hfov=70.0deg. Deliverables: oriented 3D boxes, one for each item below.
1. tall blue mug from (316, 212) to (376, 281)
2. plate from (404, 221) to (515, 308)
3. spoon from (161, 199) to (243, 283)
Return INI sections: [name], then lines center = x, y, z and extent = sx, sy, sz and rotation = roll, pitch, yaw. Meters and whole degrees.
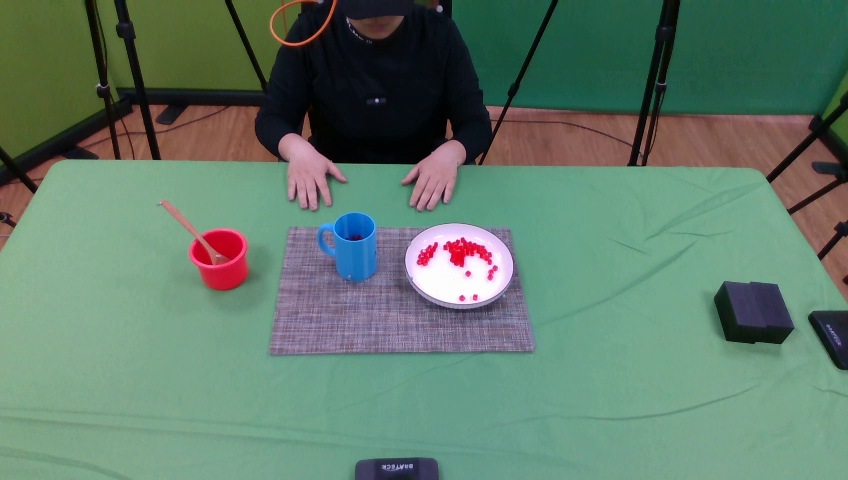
[tall blue mug]
center = -0.142, 0.014, 1.109
extent = 0.107, 0.108, 0.077
rotation = -5, 47, -8
[plate]
center = 0.065, 0.049, 1.140
extent = 0.208, 0.039, 0.206
rotation = 2, 46, -2
[spoon]
center = -0.397, 0.001, 1.083
extent = 0.194, 0.021, 0.041
rotation = 53, 57, -15
